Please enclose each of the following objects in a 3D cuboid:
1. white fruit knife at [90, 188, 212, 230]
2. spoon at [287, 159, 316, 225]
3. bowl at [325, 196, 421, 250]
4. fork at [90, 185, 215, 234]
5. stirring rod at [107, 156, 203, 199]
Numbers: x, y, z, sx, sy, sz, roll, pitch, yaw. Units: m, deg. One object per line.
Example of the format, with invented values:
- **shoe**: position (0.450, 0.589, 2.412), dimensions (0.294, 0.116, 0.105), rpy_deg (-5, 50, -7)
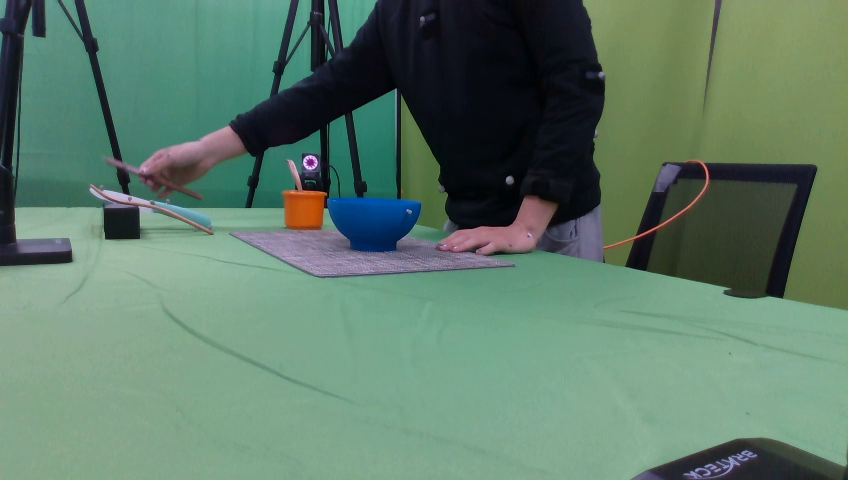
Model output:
- **white fruit knife**: position (-0.478, -0.058, 1.073), dimensions (0.208, 0.027, 0.016), rpy_deg (17, -4, -30)
- **spoon**: position (-0.261, -0.103, 1.264), dimensions (0.042, 0.193, 0.021), rpy_deg (-1, -37, -28)
- **bowl**: position (-0.080, -0.027, 0.957), dimensions (0.151, 0.077, 0.151), rpy_deg (2, 7, 0)
- **fork**: position (-0.452, -0.049, 1.018), dimensions (0.208, 0.018, 0.028), rpy_deg (21, -8, -33)
- **stirring rod**: position (-0.503, -0.117, 1.137), dimensions (0.177, 0.006, 0.014), rpy_deg (24, 30, -25)
